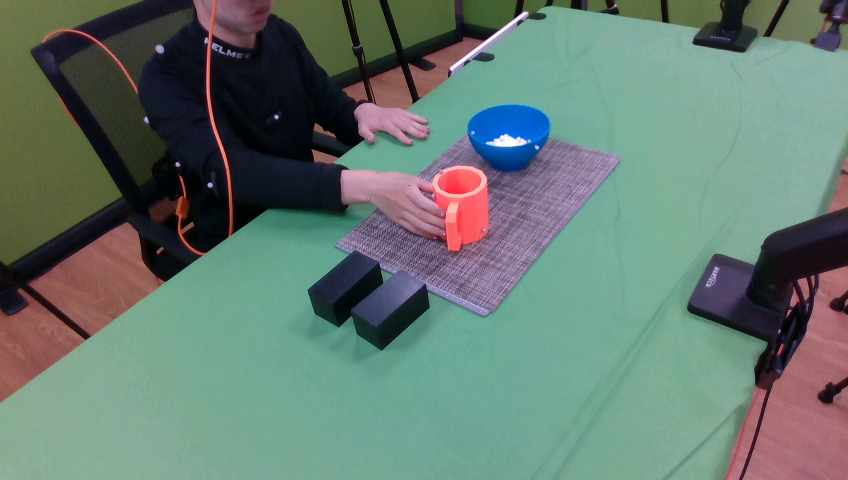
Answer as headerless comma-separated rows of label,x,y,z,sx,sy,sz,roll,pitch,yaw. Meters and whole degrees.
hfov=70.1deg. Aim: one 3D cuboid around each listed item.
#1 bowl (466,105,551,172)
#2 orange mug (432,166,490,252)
bowl,0.155,-0.177,1.105,0.151,0.077,0.150,-3,40,3
orange mug,0.055,-0.045,0.948,0.083,0.101,0.126,4,38,14
